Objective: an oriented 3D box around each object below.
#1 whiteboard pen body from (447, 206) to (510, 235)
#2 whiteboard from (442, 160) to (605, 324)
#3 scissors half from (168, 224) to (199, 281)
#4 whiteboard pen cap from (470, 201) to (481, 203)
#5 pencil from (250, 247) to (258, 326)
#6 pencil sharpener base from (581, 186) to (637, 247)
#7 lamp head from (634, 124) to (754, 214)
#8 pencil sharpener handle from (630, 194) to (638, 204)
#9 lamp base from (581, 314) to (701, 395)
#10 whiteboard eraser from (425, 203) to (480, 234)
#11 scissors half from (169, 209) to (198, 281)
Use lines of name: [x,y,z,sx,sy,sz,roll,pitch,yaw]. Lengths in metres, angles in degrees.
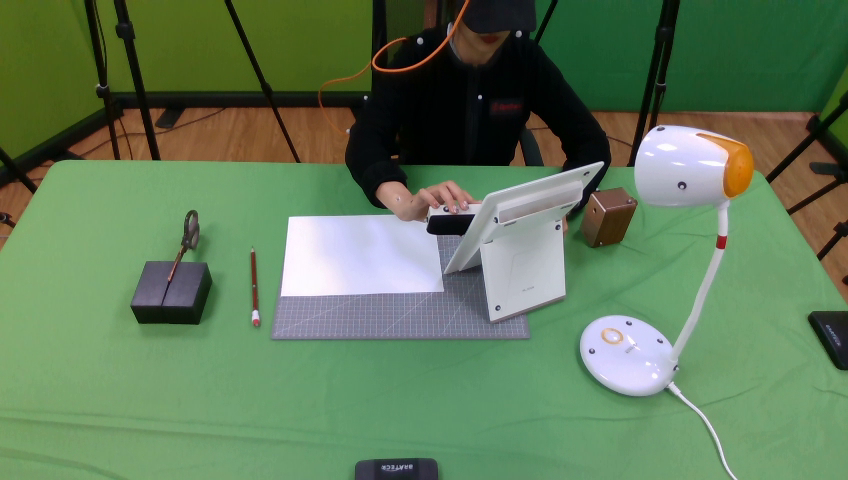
whiteboard pen body: [0.111,-0.039,1.241,0.140,0.017,0.017,23,49,14]
whiteboard: [0.185,0.025,1.029,0.217,0.306,0.143,-16,68,-19]
scissors half: [-0.441,0.023,1.111,0.013,0.040,0.174,9,29,-8]
whiteboard pen cap: [0.113,-0.073,1.279,0.033,0.018,0.018,4,46,6]
pencil: [-0.312,0.079,1.107,0.012,0.012,0.192,-7,46,-11]
pencil sharpener base: [0.369,-0.047,1.209,0.077,0.107,0.061,-11,47,-14]
lamp head: [0.351,-0.089,0.776,0.112,0.113,0.122,-30,30,-28]
pencil sharpener handle: [0.417,-0.068,1.215,0.031,0.068,0.036,-11,60,-14]
lamp base: [0.361,0.145,0.973,0.178,0.181,0.160,34,53,23]
whiteboard eraser: [0.059,-0.034,1.005,0.113,0.056,0.041,-3,62,-11]
scissors half: [-0.438,0.007,1.099,0.013,0.040,0.174,4,48,-5]
